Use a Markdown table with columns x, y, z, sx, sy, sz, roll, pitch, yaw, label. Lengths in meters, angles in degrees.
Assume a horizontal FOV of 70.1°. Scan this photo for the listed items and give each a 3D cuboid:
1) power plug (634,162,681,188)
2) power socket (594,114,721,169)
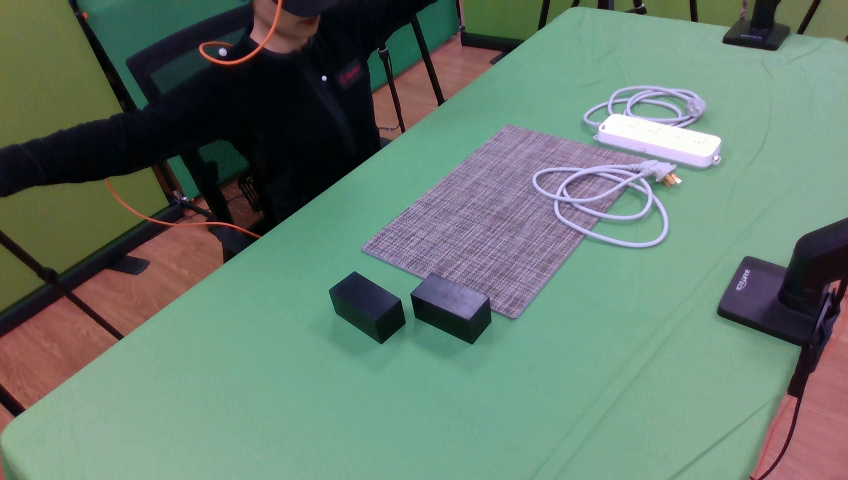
| x | y | z | sx | sy | sz | roll | pitch | yaw | label |
| --- | --- | --- | --- | --- | --- | --- | --- | --- | --- |
| 0.396 | -0.102 | 1.026 | 0.072 | 0.035 | 0.052 | -35 | 68 | -5 | power plug |
| 0.428 | -0.183 | 1.109 | 0.225 | 0.033 | 0.072 | 23 | 49 | 33 | power socket |
